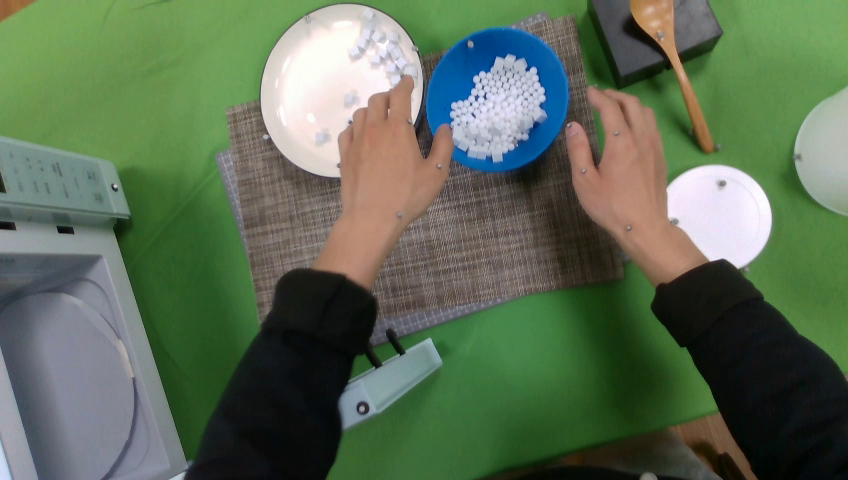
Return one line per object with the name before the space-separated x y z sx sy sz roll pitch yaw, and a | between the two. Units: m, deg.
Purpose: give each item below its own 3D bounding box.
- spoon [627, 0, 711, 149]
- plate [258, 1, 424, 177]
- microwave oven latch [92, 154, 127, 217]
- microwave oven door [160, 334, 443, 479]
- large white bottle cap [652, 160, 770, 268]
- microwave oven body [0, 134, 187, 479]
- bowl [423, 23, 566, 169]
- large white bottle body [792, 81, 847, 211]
spoon | 0.256 -0.177 0.620 0.041 0.021 0.195 -27 105 9
plate | -0.098 -0.177 0.728 0.208 0.038 0.209 -1 88 14
microwave oven latch | -0.416 -0.071 0.789 0.030 0.029 0.079 -21 85 12
microwave oven door | -0.165 0.207 0.622 0.356 0.244 0.039 -30 81 11
large white bottle cap | 0.304 -0.027 0.644 0.114 0.018 0.114 0 89 12
microwave oven body | -0.513 0.145 0.711 0.326 0.261 0.440 -22 85 12
bowl | 0.081 -0.148 0.664 0.151 0.077 0.151 0 90 14
large white bottle body | 0.422 -0.095 0.530 0.130 0.185 0.130 0 88 14
